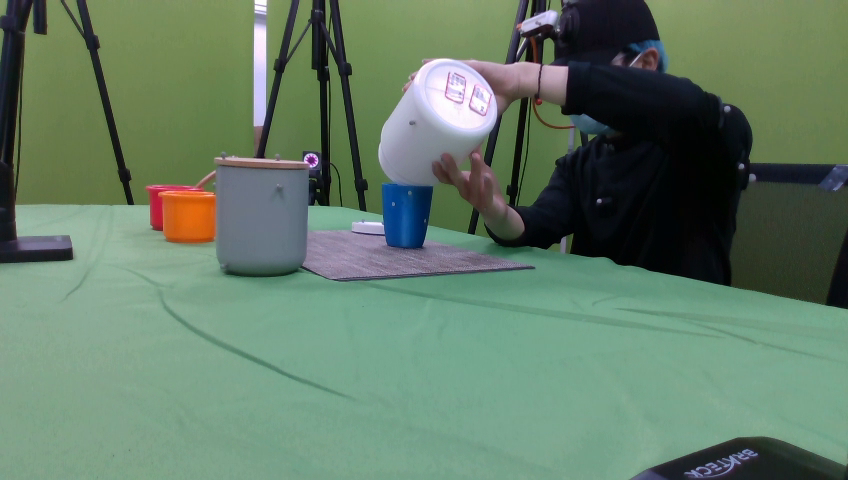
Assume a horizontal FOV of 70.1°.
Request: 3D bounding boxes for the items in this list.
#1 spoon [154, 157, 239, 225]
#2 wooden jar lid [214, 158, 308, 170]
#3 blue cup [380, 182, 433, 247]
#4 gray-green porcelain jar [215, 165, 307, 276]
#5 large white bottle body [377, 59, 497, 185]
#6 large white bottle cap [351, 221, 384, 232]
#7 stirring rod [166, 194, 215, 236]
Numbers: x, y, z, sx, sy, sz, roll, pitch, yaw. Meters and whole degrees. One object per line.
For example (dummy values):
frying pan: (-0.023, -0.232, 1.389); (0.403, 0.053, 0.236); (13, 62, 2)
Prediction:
spoon: (-0.411, -0.092, 1.104); (0.041, 0.022, 0.194); (13, 56, 51)
wooden jar lid: (-0.193, -0.085, 0.719); (0.108, 0.020, 0.108); (2, 9, 0)
blue cup: (-0.029, -0.042, 0.980); (0.093, 0.100, 0.092); (2, 8, 0)
gray-green porcelain jar: (-0.195, -0.024, 0.726); (0.106, 0.126, 0.106); (3, 7, 0)
large white bottle body: (0.011, -0.164, 0.904); (0.131, 0.130, 0.184); (-1, -21, -27)
large white bottle cap: (-0.082, -0.025, 1.162); (0.115, 0.018, 0.115); (3, 4, 0)
stirring rod: (-0.341, -0.066, 0.966); (0.176, 0.006, 0.014); (-42, 23, -9)
